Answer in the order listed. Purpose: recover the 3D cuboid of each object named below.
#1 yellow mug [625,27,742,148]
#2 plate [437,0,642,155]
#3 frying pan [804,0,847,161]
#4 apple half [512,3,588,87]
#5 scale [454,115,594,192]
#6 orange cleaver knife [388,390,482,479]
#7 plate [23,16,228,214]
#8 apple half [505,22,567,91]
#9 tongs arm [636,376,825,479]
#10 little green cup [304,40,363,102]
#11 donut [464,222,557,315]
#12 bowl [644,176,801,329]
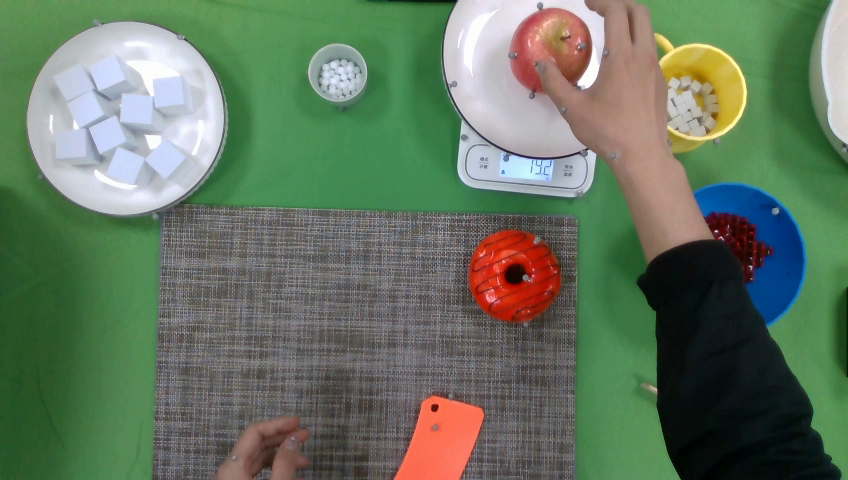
[{"bbox_3d":[0.263,-0.166,0.640,0.100,0.064,0.130,-31,88,-1],"label":"yellow mug"},{"bbox_3d":[0.116,-0.189,0.623,0.209,0.038,0.209,0,88,-2],"label":"plate"},{"bbox_3d":[0.585,-0.092,0.623,0.307,0.103,0.486,-25,81,-1],"label":"frying pan"},{"bbox_3d":[0.129,-0.197,0.597,0.053,0.075,0.080,-43,86,-5],"label":"apple half"},{"bbox_3d":[0.114,-0.157,0.654,0.149,0.031,0.200,6,88,0],"label":"scale"},{"bbox_3d":[-0.012,0.255,0.640,0.077,0.012,0.211,30,85,-6],"label":"orange cleaver knife"},{"bbox_3d":[-0.310,-0.130,0.644,0.208,0.039,0.207,0,88,-1],"label":"plate"},{"bbox_3d":[0.101,-0.170,0.594,0.033,0.081,0.081,-43,89,-6],"label":"apple half"},{"bbox_3d":[0.392,0.250,0.644,0.387,0.028,0.028,32,81,0],"label":"tongs arm"},{"bbox_3d":[-0.094,-0.178,0.648,0.061,0.038,0.061,0,88,-1],"label":"little green cup"},{"bbox_3d":[0.090,0.030,0.637,0.099,0.048,0.099,0,88,2],"label":"donut"},{"bbox_3d":[0.294,0.013,0.629,0.151,0.077,0.151,0,89,0],"label":"bowl"}]
